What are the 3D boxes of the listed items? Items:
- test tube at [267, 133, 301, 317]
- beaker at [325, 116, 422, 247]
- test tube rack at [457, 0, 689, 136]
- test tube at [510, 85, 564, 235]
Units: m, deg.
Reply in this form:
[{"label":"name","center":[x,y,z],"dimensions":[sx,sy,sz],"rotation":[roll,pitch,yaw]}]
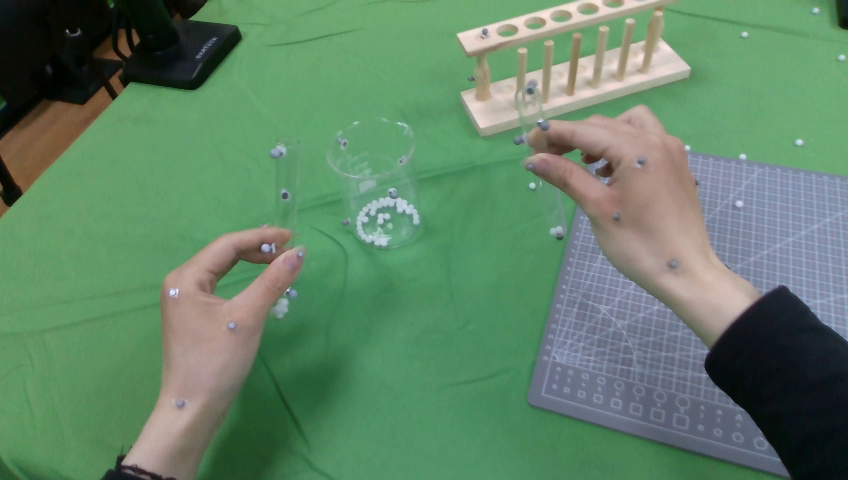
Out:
[{"label":"test tube","center":[-0.102,-0.005,0.434],"dimensions":[0.017,0.151,0.017],"rotation":[9,31,-5]},{"label":"beaker","center":[-0.038,-0.049,0.541],"dimensions":[0.084,0.101,0.073],"rotation":[-39,58,-23]},{"label":"test tube rack","center":[0.162,-0.194,0.640],"dimensions":[0.242,0.086,0.066],"rotation":[-17,52,-6]},{"label":"test tube","center":[0.083,-0.049,0.430],"dimensions":[0.017,0.152,0.017],"rotation":[-11,53,15]}]
